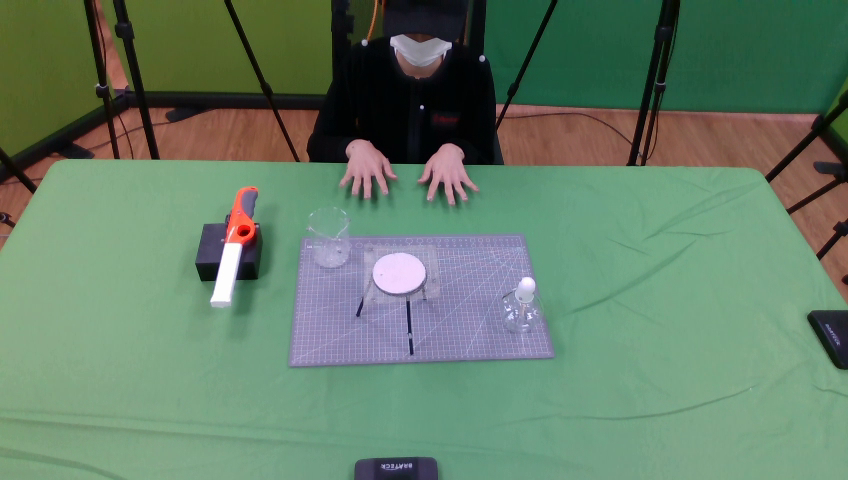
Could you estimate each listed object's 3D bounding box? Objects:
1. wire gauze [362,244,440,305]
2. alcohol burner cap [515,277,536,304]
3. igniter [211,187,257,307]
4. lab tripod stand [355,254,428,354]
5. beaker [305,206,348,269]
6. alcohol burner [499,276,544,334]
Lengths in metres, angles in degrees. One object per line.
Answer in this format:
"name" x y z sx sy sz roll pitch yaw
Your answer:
"wire gauze" -0.038 0.051 0.971 0.121 0.011 0.124 -1 46 -4
"alcohol burner cap" 0.171 0.082 1.015 0.034 0.048 0.033 0 52 0
"igniter" -0.343 0.003 1.100 0.057 0.025 0.274 2 49 -4
"lab tripod stand" -0.046 0.100 1.017 0.148 0.132 0.147 1 47 -1
"beaker" -0.176 0.001 1.126 0.074 0.101 0.083 -14 49 -16
"alcohol burner" 0.170 0.106 1.041 0.078 0.120 0.077 1 44 -1
